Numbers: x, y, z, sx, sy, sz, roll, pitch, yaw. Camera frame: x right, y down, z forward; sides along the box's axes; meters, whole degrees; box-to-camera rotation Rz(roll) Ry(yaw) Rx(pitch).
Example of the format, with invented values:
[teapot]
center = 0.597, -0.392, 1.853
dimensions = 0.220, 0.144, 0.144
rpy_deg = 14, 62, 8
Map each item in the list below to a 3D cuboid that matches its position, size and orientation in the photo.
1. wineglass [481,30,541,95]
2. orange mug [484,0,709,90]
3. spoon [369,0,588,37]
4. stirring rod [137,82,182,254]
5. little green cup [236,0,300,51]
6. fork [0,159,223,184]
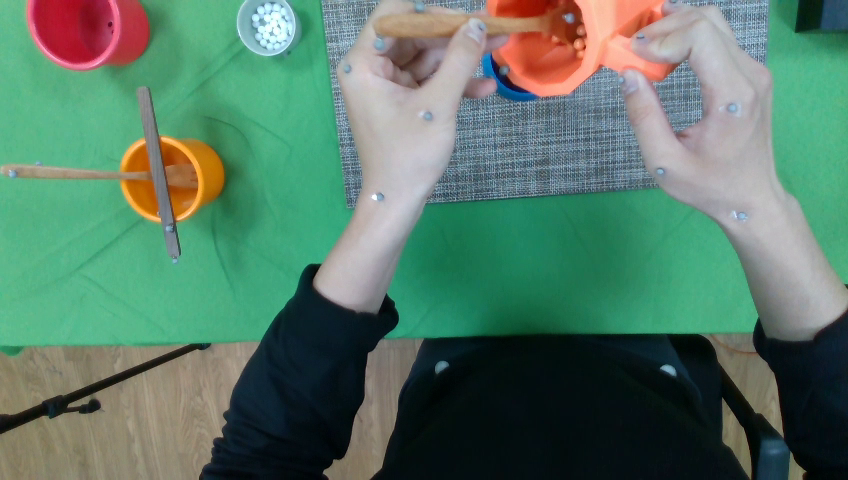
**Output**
[wineglass]
center = 0.087, -0.169, 0.552
dimensions = 0.073, 0.171, 0.074
rpy_deg = 1, 104, 5
[orange mug]
center = 0.115, -0.151, 0.398
dimensions = 0.125, 0.101, 0.084
rpy_deg = 38, 147, 25
[spoon]
center = 0.050, -0.143, 0.383
dimensions = 0.021, 0.194, 0.042
rpy_deg = 51, 140, 26
[stirring rod]
center = -0.271, -0.072, 0.622
dimensions = 0.014, 0.006, 0.177
rpy_deg = -4, 104, 7
[little green cup]
center = -0.160, -0.227, 0.631
dimensions = 0.061, 0.038, 0.062
rpy_deg = 1, 105, 6
[fork]
center = -0.314, -0.073, 0.628
dimensions = 0.208, 0.018, 0.028
rpy_deg = -3, 116, -39
